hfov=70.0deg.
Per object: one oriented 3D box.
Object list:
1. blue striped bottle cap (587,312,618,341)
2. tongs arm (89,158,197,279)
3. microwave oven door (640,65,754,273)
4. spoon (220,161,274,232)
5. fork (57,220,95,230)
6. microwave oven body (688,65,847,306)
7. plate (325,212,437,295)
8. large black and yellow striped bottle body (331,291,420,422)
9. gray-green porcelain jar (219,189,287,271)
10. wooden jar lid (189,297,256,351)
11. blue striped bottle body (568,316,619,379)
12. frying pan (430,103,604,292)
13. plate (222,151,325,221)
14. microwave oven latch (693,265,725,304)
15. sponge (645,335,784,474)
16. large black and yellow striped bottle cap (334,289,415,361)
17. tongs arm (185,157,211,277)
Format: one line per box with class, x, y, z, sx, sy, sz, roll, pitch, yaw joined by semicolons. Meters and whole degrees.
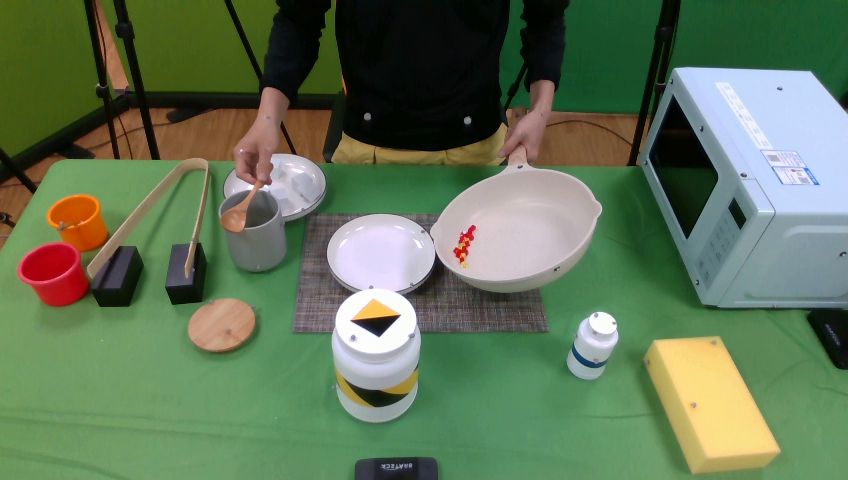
blue striped bottle cap;0.279;0.134;0.946;0.044;0.021;0.044;2;45;-2
tongs arm;-0.530;-0.057;1.164;0.028;0.028;0.385;1;36;8
microwave oven door;0.523;-0.147;1.193;0.039;0.245;0.353;0;47;-3
spoon;-0.305;-0.081;1.071;0.042;0.021;0.193;33;47;-13
fork;-0.624;-0.027;1.086;0.028;0.207;0.018;-2;91;-17
microwave oven body;0.669;-0.111;1.176;0.326;0.261;0.439;0;46;-3
plate;-0.081;0.030;1.143;0.209;0.038;0.208;3;46;-3
large black and yellow striped bottle body;-0.072;0.175;0.911;0.131;0.185;0.130;2;47;-2
gray-green porcelain jar;-0.310;-0.014;1.113;0.106;0.127;0.105;2;46;-2
wooden jar lid;-0.342;0.145;1.033;0.108;0.021;0.107;3;45;-2
blue striped bottle body;0.276;0.168;0.984;0.063;0.121;0.062;2;46;-2
frying pan;0.178;-0.098;1.140;0.306;0.103;0.485;-6;51;19
plate;-0.310;-0.106;1.263;0.208;0.039;0.206;2;47;-2
microwave oven latch;0.523;0.081;1.115;0.030;0.029;0.078;2;46;-1
sponge;0.449;0.253;0.956;0.118;0.061;0.205;-4;46;-7
large black and yellow striped bottle cap;-0.069;0.117;0.850;0.115;0.019;0.114;2;45;-2
tongs arm;-0.446;-0.058;1.168;0.051;0.026;0.382;-5;37;-6
